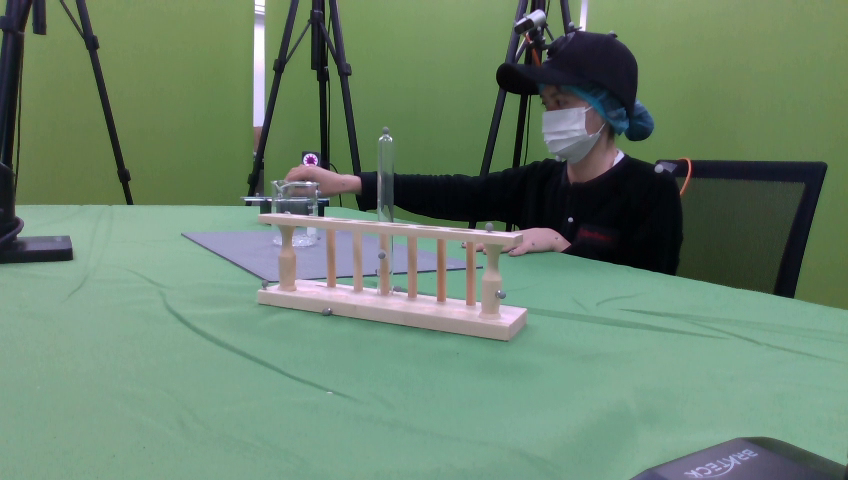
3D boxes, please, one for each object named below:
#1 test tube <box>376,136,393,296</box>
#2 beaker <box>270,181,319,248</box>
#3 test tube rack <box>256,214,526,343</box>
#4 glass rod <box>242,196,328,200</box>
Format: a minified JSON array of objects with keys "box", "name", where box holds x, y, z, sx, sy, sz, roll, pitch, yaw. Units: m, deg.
[{"box":[-0.038,-0.021,0.565,0.017,0.150,0.017,1,6,0],"name":"test tube"},{"box":[-0.203,-0.040,0.935,0.074,0.100,0.084,5,8,18],"name":"beaker"},{"box":[-0.032,0.027,0.547,0.241,0.085,0.067,5,7,22],"name":"test tube rack"},{"box":[-0.287,-0.089,1.268,0.201,0.008,0.008,-4,10,-43],"name":"glass rod"}]
